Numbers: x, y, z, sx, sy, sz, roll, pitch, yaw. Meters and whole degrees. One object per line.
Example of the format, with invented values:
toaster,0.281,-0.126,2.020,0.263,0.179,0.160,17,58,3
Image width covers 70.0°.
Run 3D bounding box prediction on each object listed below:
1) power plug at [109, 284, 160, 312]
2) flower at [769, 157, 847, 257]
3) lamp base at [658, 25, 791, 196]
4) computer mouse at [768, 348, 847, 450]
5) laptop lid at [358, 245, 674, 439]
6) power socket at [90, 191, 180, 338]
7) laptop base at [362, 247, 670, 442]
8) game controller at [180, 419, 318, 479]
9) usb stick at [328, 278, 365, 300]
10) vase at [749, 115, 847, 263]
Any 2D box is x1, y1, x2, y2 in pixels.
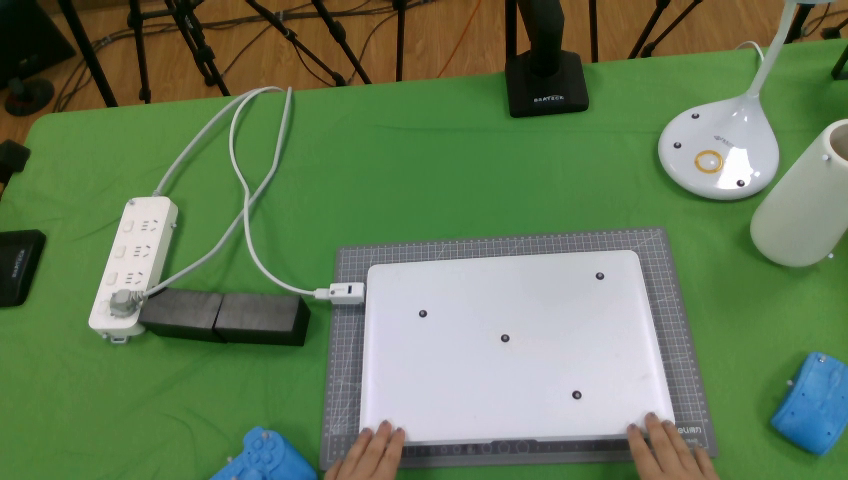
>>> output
power plug,-0.378,0.081,0.797,0.072,0.053,0.035,9,62,9
flower,0.463,-0.104,0.637,0.038,0.364,0.043,-7,49,-17
lamp base,0.411,-0.178,0.791,0.159,0.182,0.178,27,64,20
computer mouse,0.438,0.172,0.672,0.062,0.041,0.117,35,66,26
laptop lid,0.099,0.115,0.730,0.356,0.013,0.239,-2,59,5
power socket,-0.403,0.026,0.853,0.072,0.033,0.224,-1,60,5
laptop base,0.101,0.124,0.749,0.354,0.023,0.233,-4,64,5
game controller,-0.208,0.276,0.683,0.155,0.052,0.096,-37,60,-15
usb stick,-0.093,0.064,0.790,0.059,0.027,0.021,1,57,2
vase,0.455,-0.054,0.705,0.098,0.202,0.097,-4,59,7
